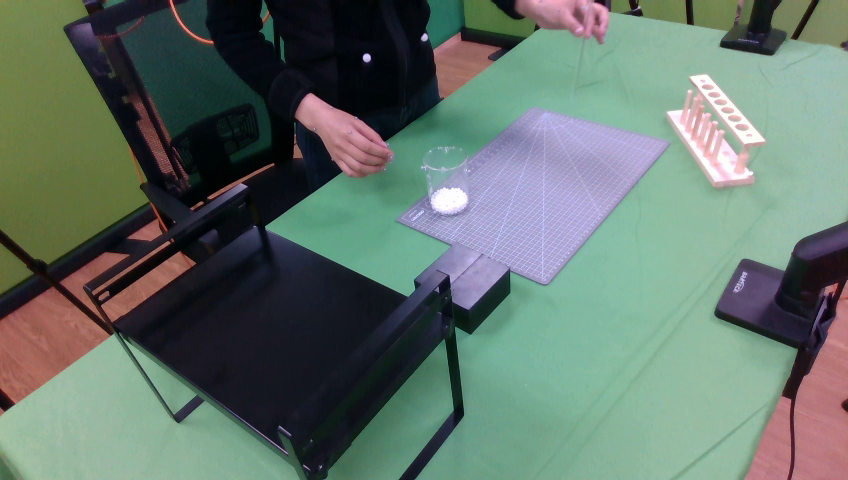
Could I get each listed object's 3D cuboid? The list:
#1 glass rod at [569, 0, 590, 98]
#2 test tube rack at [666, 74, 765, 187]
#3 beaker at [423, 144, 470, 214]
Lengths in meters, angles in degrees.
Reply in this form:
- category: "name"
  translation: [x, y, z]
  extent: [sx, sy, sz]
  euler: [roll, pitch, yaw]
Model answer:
- category: "glass rod"
  translation: [0.269, -0.342, 1.036]
  extent: [0.008, 0.200, 0.008]
  euler: [3, 30, -1]
- category: "test tube rack"
  translation: [0.512, -0.202, 1.082]
  extent: [0.067, 0.085, 0.241]
  euler: [-5, 41, 2]
- category: "beaker"
  translation: [0.040, -0.102, 1.023]
  extent: [0.074, 0.101, 0.083]
  euler: [-3, 40, 4]
